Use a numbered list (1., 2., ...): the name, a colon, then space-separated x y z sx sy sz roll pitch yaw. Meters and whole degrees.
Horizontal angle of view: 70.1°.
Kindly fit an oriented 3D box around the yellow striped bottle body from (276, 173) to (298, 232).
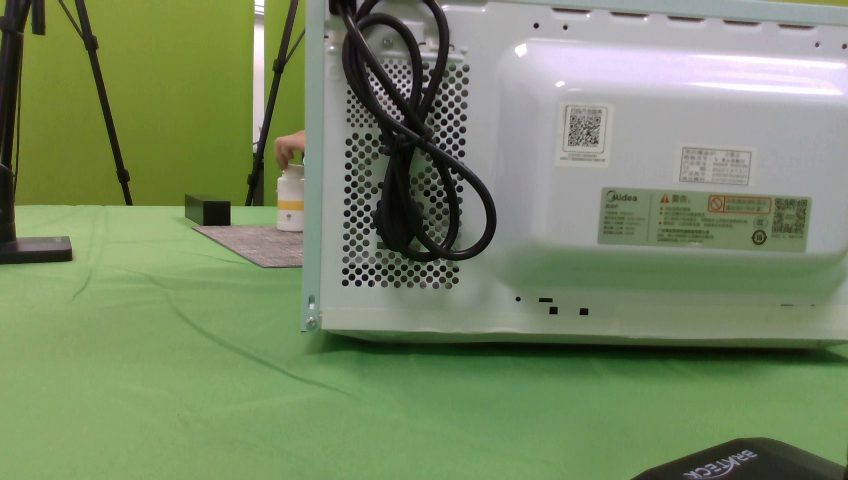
1. yellow striped bottle body: -0.243 -0.078 1.129 0.063 0.120 0.063 2 7 0

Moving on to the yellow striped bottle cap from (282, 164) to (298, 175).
1. yellow striped bottle cap: -0.241 -0.130 1.122 0.044 0.018 0.044 5 4 0

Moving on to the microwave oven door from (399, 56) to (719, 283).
1. microwave oven door: 0.154 -0.078 0.698 0.356 0.243 0.039 2 8 -5

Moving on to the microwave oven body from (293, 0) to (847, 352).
1. microwave oven body: 0.122 -0.055 0.550 0.442 0.260 0.325 3 7 -5

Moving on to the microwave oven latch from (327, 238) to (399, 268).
1. microwave oven latch: -0.069 0.015 0.694 0.079 0.029 0.030 3 7 -3
